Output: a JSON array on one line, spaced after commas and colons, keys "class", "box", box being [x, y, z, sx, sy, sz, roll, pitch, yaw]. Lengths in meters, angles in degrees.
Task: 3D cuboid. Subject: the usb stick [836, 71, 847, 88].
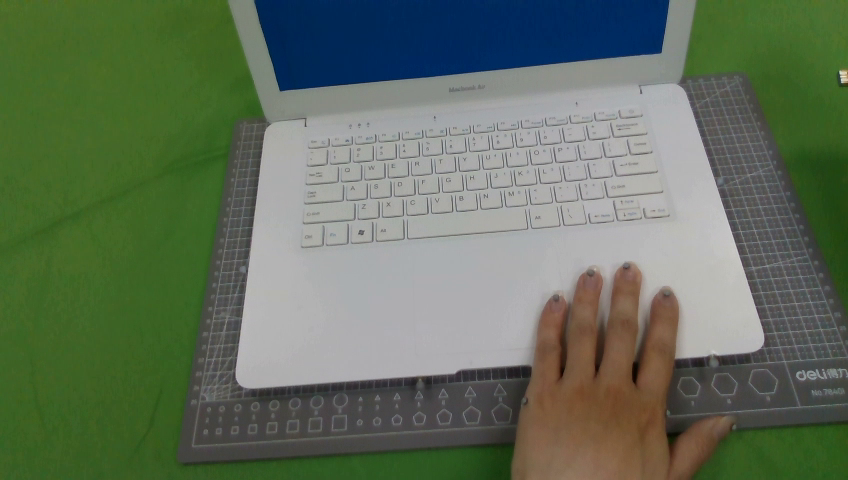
[{"class": "usb stick", "box": [0.324, -0.117, 0.423, 0.059, 0.027, 0.021, 1, 63, 13]}]

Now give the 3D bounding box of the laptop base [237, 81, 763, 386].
[{"class": "laptop base", "box": [0.043, -0.013, 0.461, 0.354, 0.023, 0.233, -5, 63, 3]}]

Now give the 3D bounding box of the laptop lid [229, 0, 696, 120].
[{"class": "laptop lid", "box": [0.027, -0.202, 0.441, 0.356, 0.244, 0.013, -6, 42, 4]}]
